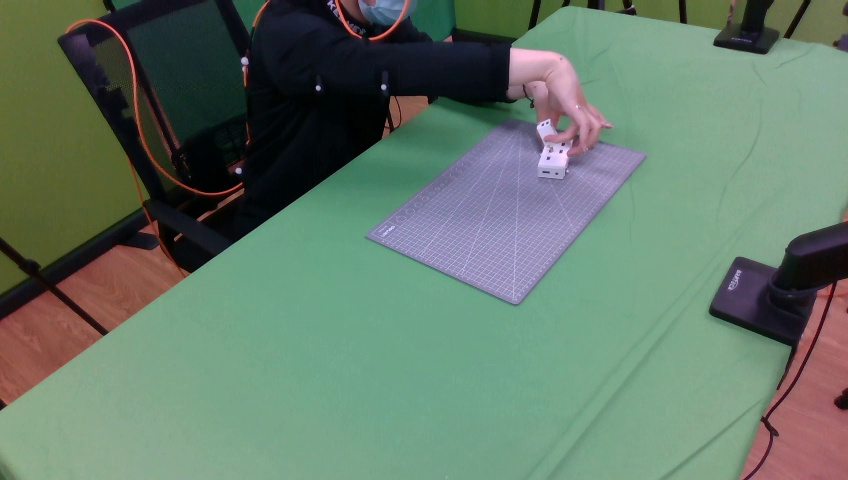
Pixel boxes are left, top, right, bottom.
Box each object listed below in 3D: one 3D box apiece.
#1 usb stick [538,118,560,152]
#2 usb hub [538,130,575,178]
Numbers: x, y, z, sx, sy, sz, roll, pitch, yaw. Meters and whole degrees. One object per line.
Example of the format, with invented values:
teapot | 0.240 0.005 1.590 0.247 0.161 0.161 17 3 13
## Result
usb stick | 0.227 -0.186 1.086 0.027 0.059 0.021 -15 34 20
usb hub | 0.245 -0.159 1.112 0.049 0.025 0.125 9 44 18
